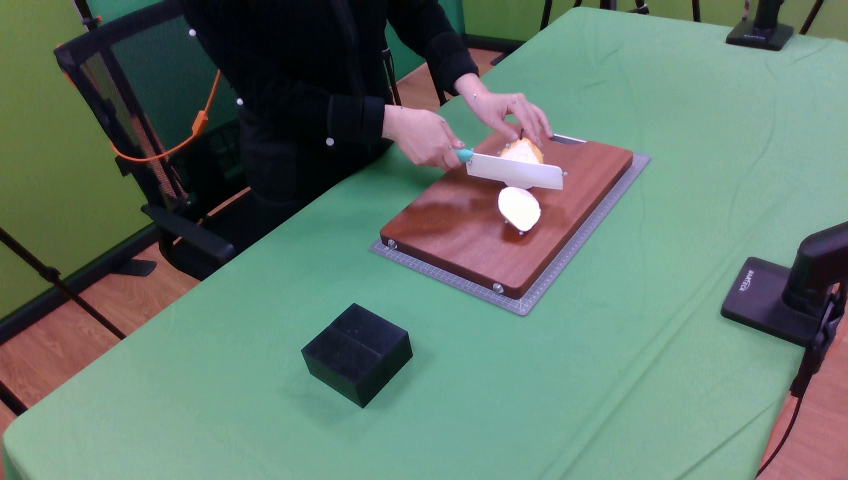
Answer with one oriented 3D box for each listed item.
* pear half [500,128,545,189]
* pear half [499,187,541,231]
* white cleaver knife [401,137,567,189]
[{"bbox_3d":[0.166,-0.145,1.014,0.076,0.110,0.056,8,43,9],"label":"pear half"},{"bbox_3d":[0.149,-0.044,0.956,0.071,0.031,0.087,3,57,-9],"label":"pear half"},{"bbox_3d":[0.093,-0.123,0.997,0.285,0.066,0.021,14,60,17],"label":"white cleaver knife"}]
